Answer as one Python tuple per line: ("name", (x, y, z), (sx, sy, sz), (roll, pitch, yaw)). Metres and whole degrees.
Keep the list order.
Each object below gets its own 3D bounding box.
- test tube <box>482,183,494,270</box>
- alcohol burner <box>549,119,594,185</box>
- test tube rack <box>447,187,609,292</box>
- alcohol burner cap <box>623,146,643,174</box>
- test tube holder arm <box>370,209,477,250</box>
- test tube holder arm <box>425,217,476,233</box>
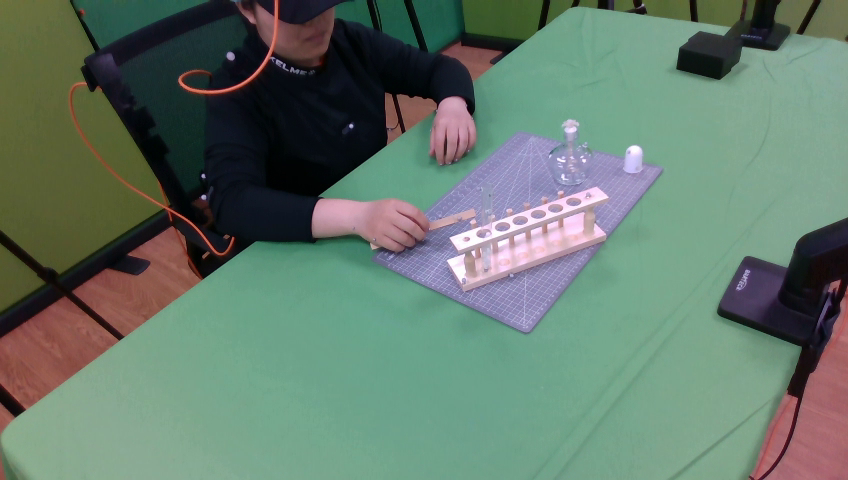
("test tube", (0.090, -0.016, 0.854), (0.017, 0.151, 0.017), (-2, 39, 2))
("alcohol burner", (0.254, -0.155, 1.043), (0.078, 0.120, 0.077), (-7, 40, 6))
("test tube rack", (0.155, -0.011, 0.913), (0.243, 0.085, 0.066), (-19, 41, -11))
("alcohol burner cap", (0.369, -0.142, 1.061), (0.034, 0.048, 0.033), (-7, 41, 6))
("test tube holder arm", (-0.002, -0.017, 0.974), (0.178, 0.013, 0.015), (-17, 80, 1))
("test tube holder arm", (0.042, -0.030, 0.978), (0.088, 0.010, 0.015), (-18, 80, 2))
